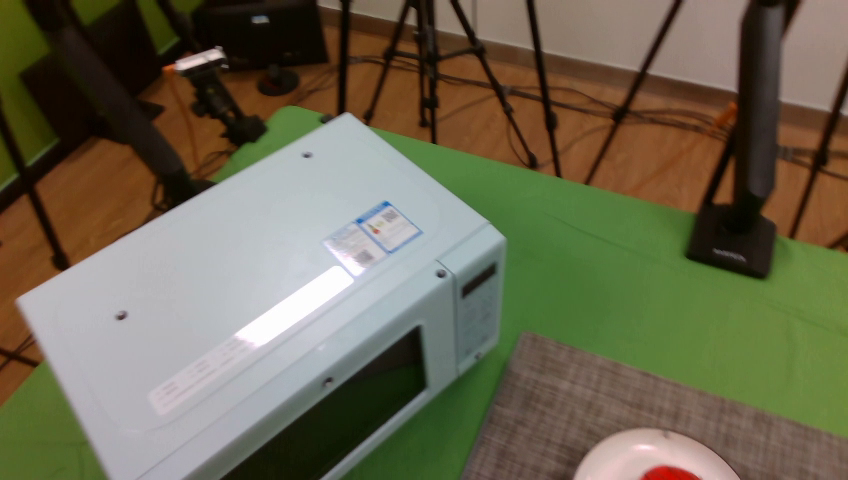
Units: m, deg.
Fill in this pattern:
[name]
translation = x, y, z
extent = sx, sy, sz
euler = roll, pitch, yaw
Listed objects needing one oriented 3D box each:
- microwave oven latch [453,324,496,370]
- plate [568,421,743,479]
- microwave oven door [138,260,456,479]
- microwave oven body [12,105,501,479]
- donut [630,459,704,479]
[microwave oven latch]
translation = 0.063, 0.138, 0.820
extent = 0.079, 0.030, 0.030
euler = -37, 58, -22
[plate]
translation = 0.266, 0.310, 0.685
extent = 0.209, 0.038, 0.207
euler = -2, 51, 3
[microwave oven door]
translation = -0.109, 0.194, 0.657
extent = 0.355, 0.246, 0.039
euler = -37, 57, -22
[microwave oven body]
translation = -0.174, 0.093, 0.749
extent = 0.441, 0.262, 0.323
euler = -37, 59, -22
[donut]
translation = 0.277, 0.297, 0.681
extent = 0.099, 0.048, 0.098
euler = -1, 54, 1
